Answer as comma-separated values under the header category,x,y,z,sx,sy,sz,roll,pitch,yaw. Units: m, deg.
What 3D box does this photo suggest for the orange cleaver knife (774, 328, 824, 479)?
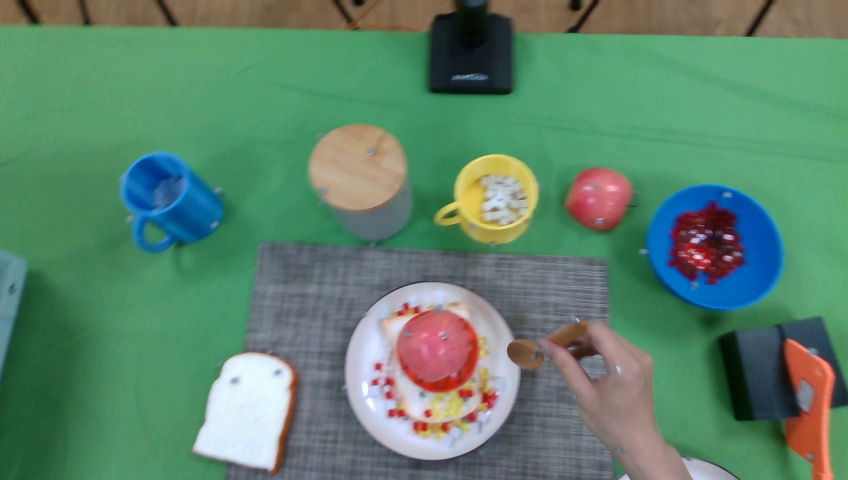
category,x,y,z,sx,sy,sz,roll,pitch,yaw
orange cleaver knife,0.414,0.205,0.669,0.012,0.077,0.211,-7,96,-6

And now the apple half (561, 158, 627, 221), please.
category,x,y,z,sx,sy,sz,roll,pitch,yaw
apple half,0.218,-0.071,0.769,0.074,0.053,0.080,25,77,11

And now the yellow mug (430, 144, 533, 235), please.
category,x,y,z,sx,sy,sz,roll,pitch,yaw
yellow mug,0.070,-0.058,0.765,0.131,0.064,0.099,-19,75,-2

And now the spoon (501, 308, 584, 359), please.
category,x,y,z,sx,sy,sz,roll,pitch,yaw
spoon,0.114,0.093,0.588,0.041,0.194,0.021,36,72,3

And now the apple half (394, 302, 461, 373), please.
category,x,y,z,sx,sy,sz,roll,pitch,yaw
apple half,0.003,0.105,0.666,0.081,0.033,0.081,-3,71,8

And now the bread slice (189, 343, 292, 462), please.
category,x,y,z,sx,sy,sz,roll,pitch,yaw
bread slice,-0.217,0.190,0.729,0.105,0.019,0.131,10,76,4

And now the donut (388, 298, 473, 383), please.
category,x,y,z,sx,sy,sz,roll,pitch,yaw
donut,0.008,0.116,0.700,0.099,0.048,0.098,-1,75,3

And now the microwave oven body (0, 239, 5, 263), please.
category,x,y,z,sx,sy,sz,roll,pitch,yaw
microwave oven body,-0.697,0.175,0.625,0.326,0.261,0.439,3,75,3

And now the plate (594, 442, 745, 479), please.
category,x,y,z,sx,sy,sz,roll,pitch,yaw
plate,0.271,0.329,0.663,0.209,0.038,0.208,-1,74,3

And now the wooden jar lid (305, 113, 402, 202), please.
category,x,y,z,sx,sy,sz,roll,pitch,yaw
wooden jar lid,-0.078,-0.091,0.682,0.108,0.021,0.107,0,72,0

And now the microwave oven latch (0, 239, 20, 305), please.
category,x,y,z,sx,sy,sz,roll,pitch,yaw
microwave oven latch,-0.533,0.040,0.756,0.030,0.029,0.079,7,75,4

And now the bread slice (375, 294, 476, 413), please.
category,x,y,z,sx,sy,sz,roll,pitch,yaw
bread slice,0.009,0.137,0.724,0.107,0.018,0.133,-14,76,-2

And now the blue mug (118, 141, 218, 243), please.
category,x,y,z,sx,sy,sz,roll,pitch,yaw
blue mug,-0.325,-0.050,0.757,0.082,0.106,0.116,23,77,9

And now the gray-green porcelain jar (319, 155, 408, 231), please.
category,x,y,z,sx,sy,sz,roll,pitch,yaw
gray-green porcelain jar,-0.074,-0.074,0.743,0.106,0.127,0.105,-1,74,2

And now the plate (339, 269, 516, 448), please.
category,x,y,z,sx,sy,sz,roll,pitch,yaw
plate,0.004,0.139,0.723,0.207,0.039,0.206,-1,75,2

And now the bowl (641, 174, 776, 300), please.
category,x,y,z,sx,sy,sz,roll,pitch,yaw
bowl,0.329,0.005,0.730,0.151,0.077,0.150,-1,74,3

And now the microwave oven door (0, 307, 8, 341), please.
category,x,y,z,sx,sy,sz,roll,pitch,yaw
microwave oven door,-0.555,0.222,0.601,0.039,0.245,0.354,3,74,4
